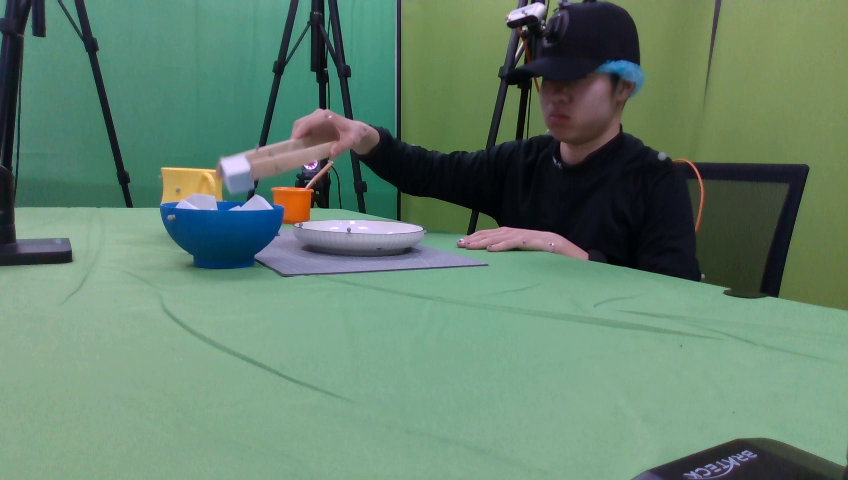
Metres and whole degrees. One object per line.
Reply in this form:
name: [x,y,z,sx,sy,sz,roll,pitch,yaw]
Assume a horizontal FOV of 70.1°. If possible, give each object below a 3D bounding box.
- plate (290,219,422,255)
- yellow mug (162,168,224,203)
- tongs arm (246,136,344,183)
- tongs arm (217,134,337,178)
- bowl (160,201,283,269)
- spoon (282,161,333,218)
plate: [-0.108,-0.005,0.963,0.208,0.039,0.207,3,7,0]
yellow mug: [-0.383,-0.087,1.026,0.130,0.064,0.100,11,11,44]
tongs arm: [-0.190,-0.133,0.952,0.028,0.028,0.388,6,16,10]
tongs arm: [-0.216,-0.138,0.956,0.051,0.026,0.385,9,16,5]
bowl: [-0.259,-0.007,0.783,0.151,0.077,0.151,2,8,0]
spoon: [-0.262,-0.115,1.359,0.041,0.194,0.022,13,-33,38]
